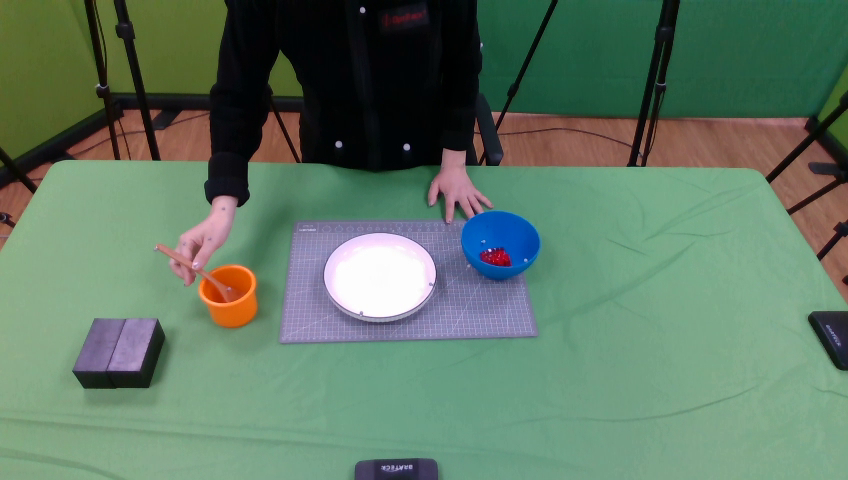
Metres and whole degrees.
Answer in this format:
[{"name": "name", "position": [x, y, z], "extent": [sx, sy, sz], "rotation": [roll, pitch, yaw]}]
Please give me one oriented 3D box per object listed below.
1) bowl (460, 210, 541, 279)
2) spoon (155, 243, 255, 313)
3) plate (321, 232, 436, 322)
[{"name": "bowl", "position": [0.140, 0.021, 1.145], "extent": [0.151, 0.077, 0.150], "rotation": [2, 46, -2]}, {"name": "spoon", "position": [-0.366, 0.062, 1.020], "extent": [0.021, 0.195, 0.041], "rotation": [-25, 34, 34]}, {"name": "plate", "position": [-0.083, 0.070, 1.109], "extent": [0.209, 0.038, 0.208], "rotation": [3, 46, -3]}]
